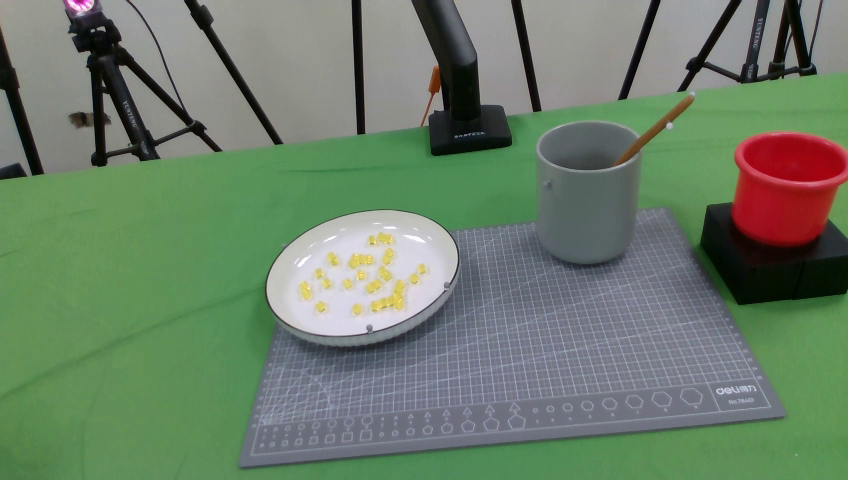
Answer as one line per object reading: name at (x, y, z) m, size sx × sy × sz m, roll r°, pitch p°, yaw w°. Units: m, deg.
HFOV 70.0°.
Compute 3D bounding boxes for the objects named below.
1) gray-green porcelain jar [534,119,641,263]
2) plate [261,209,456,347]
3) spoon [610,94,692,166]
gray-green porcelain jar at (0.171, -0.048, 0.643) m, size 0.106 × 0.128 × 0.105 m, roll -6°, pitch 38°, yaw 5°
plate at (-0.067, 0.041, 0.652) m, size 0.207 × 0.039 × 0.205 m, roll -5°, pitch 38°, yaw 4°
spoon at (0.193, -0.073, 0.599) m, size 0.021 × 0.194 × 0.041 m, roll 46°, pitch 48°, yaw 14°
